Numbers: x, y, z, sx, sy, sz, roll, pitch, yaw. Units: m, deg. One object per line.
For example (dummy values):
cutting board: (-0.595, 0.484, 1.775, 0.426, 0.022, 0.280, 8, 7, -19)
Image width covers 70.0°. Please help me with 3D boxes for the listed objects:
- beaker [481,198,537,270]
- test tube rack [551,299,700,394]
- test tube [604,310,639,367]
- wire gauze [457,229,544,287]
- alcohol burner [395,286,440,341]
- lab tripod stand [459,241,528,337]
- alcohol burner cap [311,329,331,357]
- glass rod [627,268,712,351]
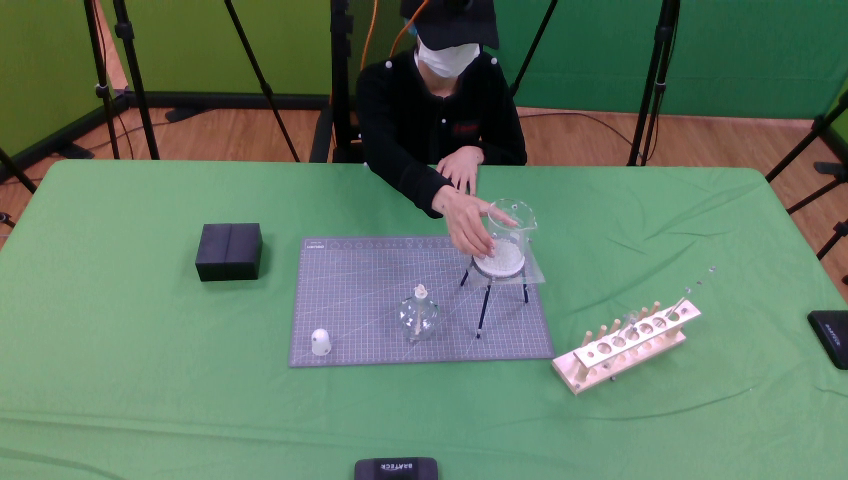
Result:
beaker: (0.134, -0.005, 0.974, 0.084, 0.101, 0.074, 22, 48, 15)
test tube rack: (0.339, 0.166, 1.021, 0.242, 0.085, 0.066, -19, 50, -21)
test tube: (0.310, 0.158, 0.957, 0.017, 0.151, 0.017, 1, 49, -1)
wire gauze: (0.125, 0.030, 1.008, 0.125, 0.011, 0.120, -2, 48, -11)
alcohol burner: (-0.010, 0.116, 1.018, 0.078, 0.119, 0.077, 3, 47, -3)
lab tripod stand: (0.122, 0.075, 1.054, 0.148, 0.132, 0.147, 3, 44, -3)
alcohol burner cap: (-0.173, 0.168, 1.005, 0.034, 0.048, 0.033, 2, 46, -2)
glass rod: (0.399, 0.117, 0.995, 0.008, 0.200, 0.008, 26, 29, -16)
